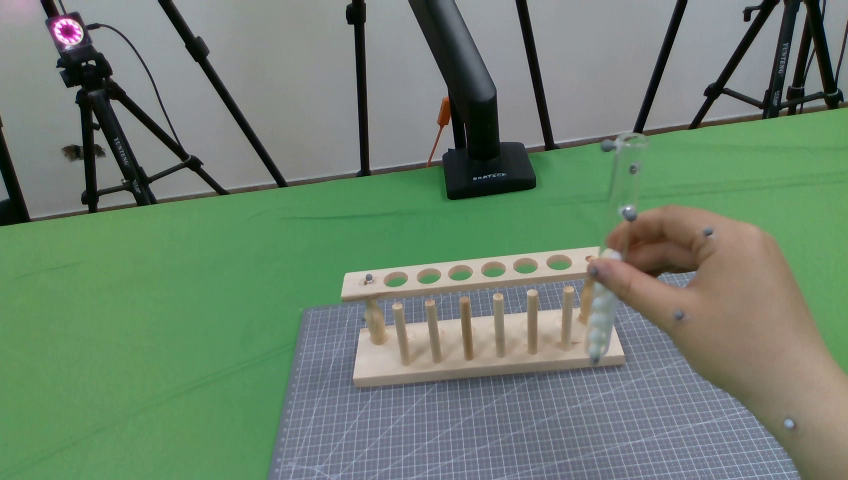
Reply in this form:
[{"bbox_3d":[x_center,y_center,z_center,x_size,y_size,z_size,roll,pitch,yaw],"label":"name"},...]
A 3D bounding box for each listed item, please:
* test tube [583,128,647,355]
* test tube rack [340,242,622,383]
[{"bbox_3d":[0.106,0.009,0.343,0.017,0.151,0.017,-1,34,1],"label":"test tube"},{"bbox_3d":[0.051,0.067,0.548,0.242,0.086,0.066,-6,36,5],"label":"test tube rack"}]
